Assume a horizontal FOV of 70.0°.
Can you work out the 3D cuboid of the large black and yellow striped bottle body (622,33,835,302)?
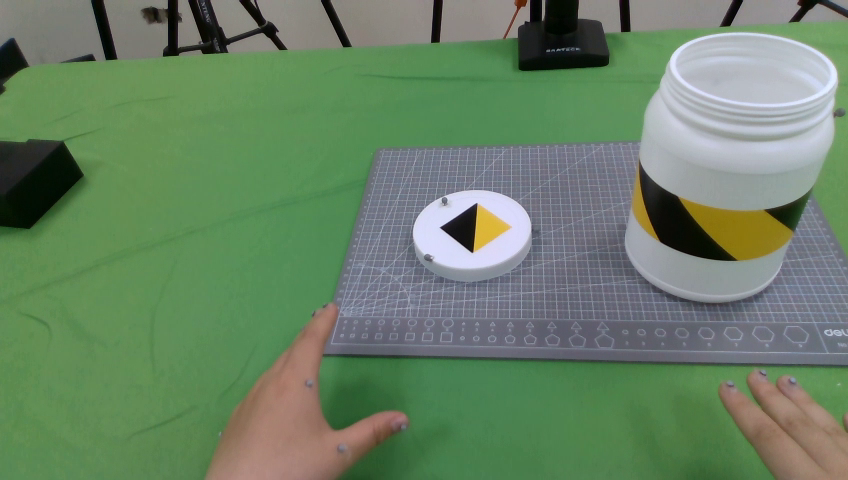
[{"bbox_3d":[0.235,-0.055,0.484,0.131,0.186,0.129,-4,43,4],"label":"large black and yellow striped bottle body"}]

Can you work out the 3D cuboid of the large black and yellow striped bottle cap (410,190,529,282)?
[{"bbox_3d":[0.043,-0.007,0.586,0.115,0.019,0.114,-3,44,3],"label":"large black and yellow striped bottle cap"}]
